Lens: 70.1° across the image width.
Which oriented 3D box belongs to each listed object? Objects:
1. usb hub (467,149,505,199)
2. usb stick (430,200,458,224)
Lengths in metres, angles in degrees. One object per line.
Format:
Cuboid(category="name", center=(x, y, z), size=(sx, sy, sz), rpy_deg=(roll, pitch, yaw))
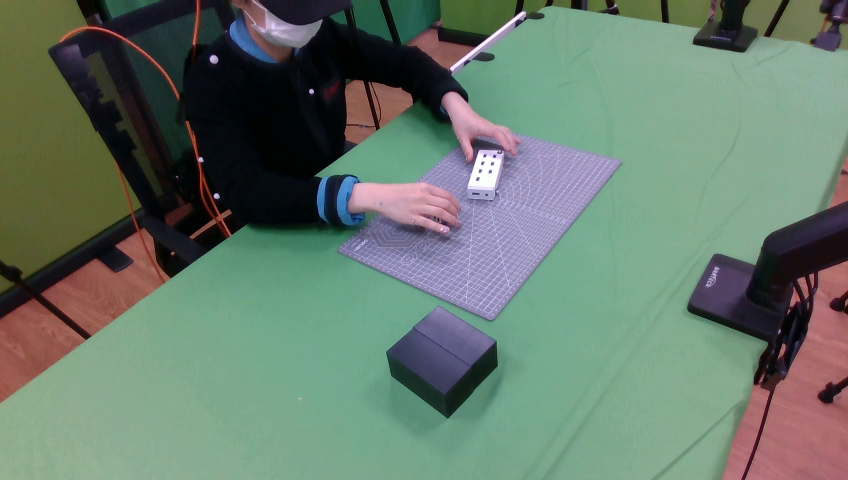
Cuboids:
Cuboid(category="usb hub", center=(0.113, -0.119, 1.084), size=(0.049, 0.025, 0.125), rpy_deg=(6, 42, 14))
Cuboid(category="usb stick", center=(0.038, -0.049, 1.009), size=(0.027, 0.021, 0.059), rpy_deg=(21, 40, 34))
